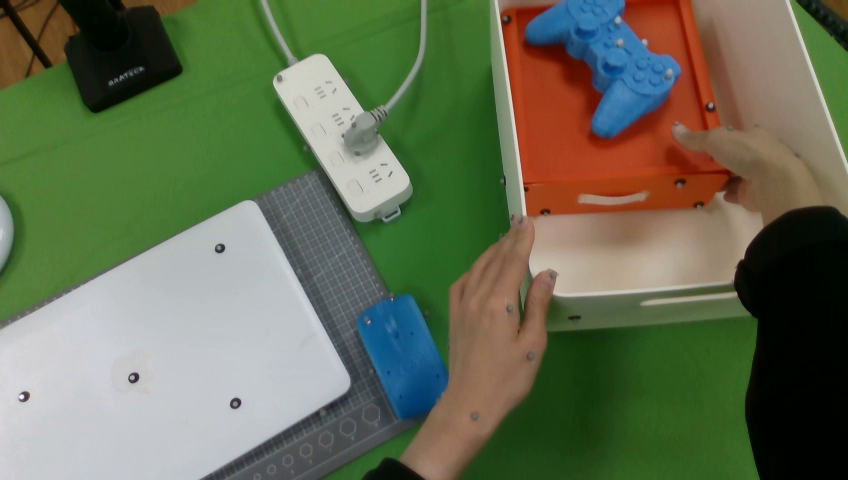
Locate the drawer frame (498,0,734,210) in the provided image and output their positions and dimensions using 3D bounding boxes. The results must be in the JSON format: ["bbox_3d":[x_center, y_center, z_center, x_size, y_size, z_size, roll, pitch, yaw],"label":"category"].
[{"bbox_3d":[0.181,-0.138,0.622,0.201,0.083,0.211,-3,63,2],"label":"drawer frame"}]

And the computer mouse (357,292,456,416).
[{"bbox_3d":[-0.018,0.105,0.574,0.063,0.041,0.116,-25,65,-4],"label":"computer mouse"}]

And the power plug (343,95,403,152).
[{"bbox_3d":[-0.050,-0.116,0.642,0.072,0.053,0.035,-20,67,-5],"label":"power plug"}]

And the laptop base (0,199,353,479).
[{"bbox_3d":[-0.273,0.133,0.595,0.354,0.023,0.234,-30,73,-7],"label":"laptop base"}]

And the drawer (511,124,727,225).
[{"bbox_3d":[0.185,-0.121,0.642,0.194,0.074,0.209,-4,55,5],"label":"drawer"}]

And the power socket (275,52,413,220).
[{"bbox_3d":[-0.091,-0.118,0.671,0.072,0.033,0.225,-30,70,-9],"label":"power socket"}]

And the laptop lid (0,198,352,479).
[{"bbox_3d":[-0.273,0.130,0.583,0.357,0.013,0.240,-28,72,-6],"label":"laptop lid"}]

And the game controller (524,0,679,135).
[{"bbox_3d":[0.174,-0.184,0.588,0.097,0.052,0.154,-25,69,-9],"label":"game controller"}]

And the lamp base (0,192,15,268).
[{"bbox_3d":[-0.545,-0.029,0.591,0.178,0.181,0.160,19,71,14],"label":"lamp base"}]

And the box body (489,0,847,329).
[{"bbox_3d":[0.200,-0.107,0.574,0.254,0.161,0.361,-5,69,2],"label":"box body"}]
